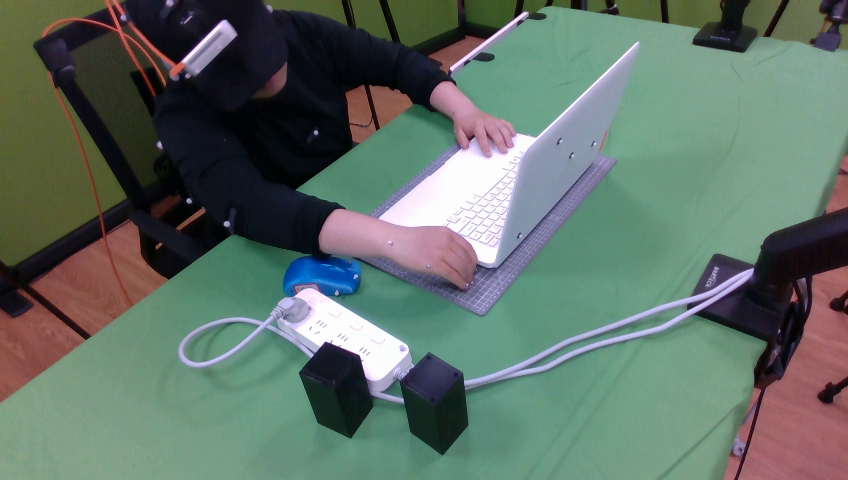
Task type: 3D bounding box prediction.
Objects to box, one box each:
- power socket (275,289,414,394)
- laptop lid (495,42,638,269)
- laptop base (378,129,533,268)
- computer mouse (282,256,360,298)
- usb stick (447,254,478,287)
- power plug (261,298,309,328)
[{"bbox_3d":[-0.115,0.133,0.820,0.225,0.033,0.072,25,49,32],"label":"power socket"},{"bbox_3d":[0.219,-0.130,0.912,0.013,0.242,0.358,31,51,22],"label":"laptop lid"},{"bbox_3d":[0.117,-0.088,1.059,0.233,0.023,0.355,19,47,33],"label":"laptop base"},{"bbox_3d":[-0.156,0.055,0.918,0.117,0.041,0.062,-1,37,2],"label":"computer mouse"},{"bbox_3d":[0.061,0.041,0.897,0.021,0.027,0.059,20,45,34],"label":"usb stick"},{"bbox_3d":[-0.192,0.107,0.831,0.073,0.053,0.035,-32,43,-25],"label":"power plug"}]
